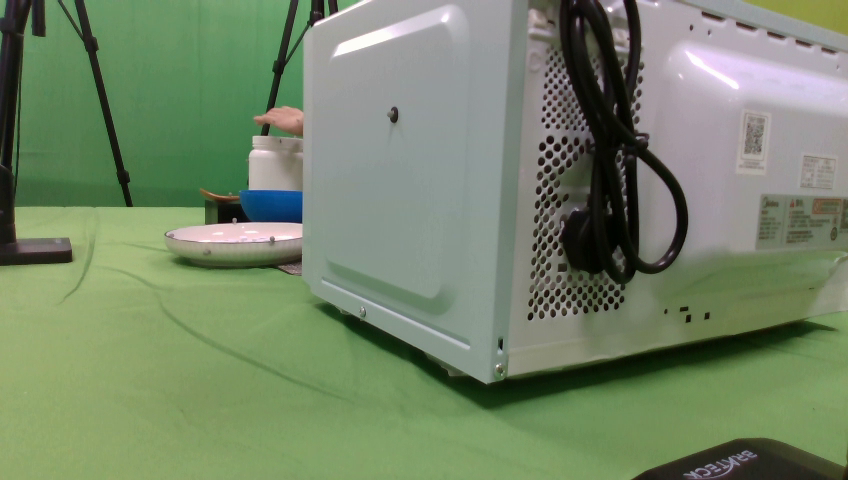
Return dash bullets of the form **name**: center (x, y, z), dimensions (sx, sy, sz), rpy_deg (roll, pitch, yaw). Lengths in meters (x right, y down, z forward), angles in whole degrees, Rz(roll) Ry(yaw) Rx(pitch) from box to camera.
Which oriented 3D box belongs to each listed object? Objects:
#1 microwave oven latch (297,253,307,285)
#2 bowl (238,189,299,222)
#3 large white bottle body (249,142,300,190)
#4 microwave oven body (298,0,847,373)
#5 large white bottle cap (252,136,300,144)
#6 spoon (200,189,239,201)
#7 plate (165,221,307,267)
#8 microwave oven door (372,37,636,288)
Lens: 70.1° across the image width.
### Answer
- **microwave oven latch**: center (-0.082, 0.027, 0.582), dimensions (0.079, 0.029, 0.030), rpy_deg (-1, 7, -32)
- **bowl**: center (-0.245, -0.045, 1.052), dimensions (0.151, 0.077, 0.151), rpy_deg (3, 7, 0)
- **large white bottle body**: center (-0.339, -0.144, 1.402), dimensions (0.131, 0.184, 0.130), rpy_deg (2, 7, 0)
- **microwave oven body**: center (0.151, -0.055, 0.542), dimensions (0.444, 0.260, 0.324), rpy_deg (-2, 7, -33)
- **large white bottle cap**: center (-0.336, -0.228, 1.391), dimensions (0.115, 0.018, 0.115), rpy_deg (1, 6, 0)
- **spoon**: center (-0.339, -0.080, 1.190), dimensions (0.194, 0.021, 0.041), rpy_deg (5, 1, -19)
- **plate**: center (-0.241, 0.004, 0.829), dimensions (0.209, 0.038, 0.209), rpy_deg (0, 9, 0)
- **microwave oven door**: center (0.110, -0.080, 0.686), dimensions (0.358, 0.243, 0.039), rpy_deg (-2, 9, -33)
